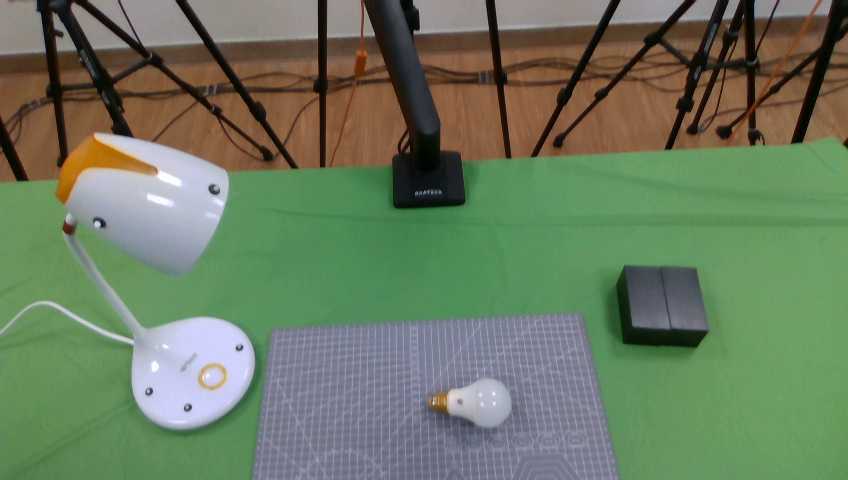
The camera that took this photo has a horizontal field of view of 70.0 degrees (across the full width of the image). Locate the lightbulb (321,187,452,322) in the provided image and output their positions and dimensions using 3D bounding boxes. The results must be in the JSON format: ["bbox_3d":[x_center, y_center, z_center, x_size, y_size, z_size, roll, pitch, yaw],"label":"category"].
[{"bbox_3d":[-0.028,0.019,0.297,0.060,0.108,0.059,17,49,-20],"label":"lightbulb"}]

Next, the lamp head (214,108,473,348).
[{"bbox_3d":[-0.050,0.009,0.316,0.113,0.123,0.111,20,58,-35],"label":"lamp head"}]

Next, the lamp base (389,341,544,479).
[{"bbox_3d":[0.037,0.156,0.605,0.179,0.181,0.159,12,67,10],"label":"lamp base"}]
